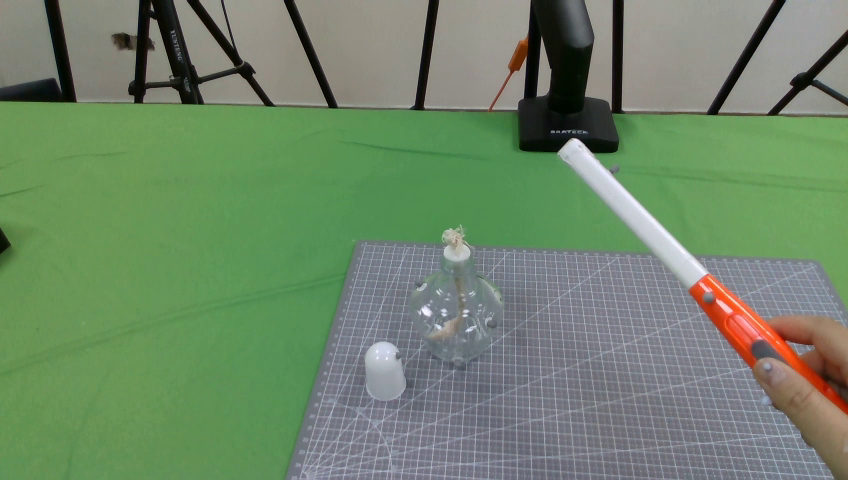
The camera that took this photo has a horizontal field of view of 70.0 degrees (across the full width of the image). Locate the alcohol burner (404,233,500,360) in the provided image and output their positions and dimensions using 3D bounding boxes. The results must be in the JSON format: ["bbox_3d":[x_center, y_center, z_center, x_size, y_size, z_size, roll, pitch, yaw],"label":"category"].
[{"bbox_3d":[0.023,0.040,0.480,0.078,0.120,0.077,0,42,0],"label":"alcohol burner"}]

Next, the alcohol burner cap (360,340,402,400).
[{"bbox_3d":[-0.034,0.097,0.469,0.034,0.048,0.033,-1,41,1],"label":"alcohol burner cap"}]

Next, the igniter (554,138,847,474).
[{"bbox_3d":[0.173,0.035,0.367,0.057,0.025,0.274,16,33,-56],"label":"igniter"}]
